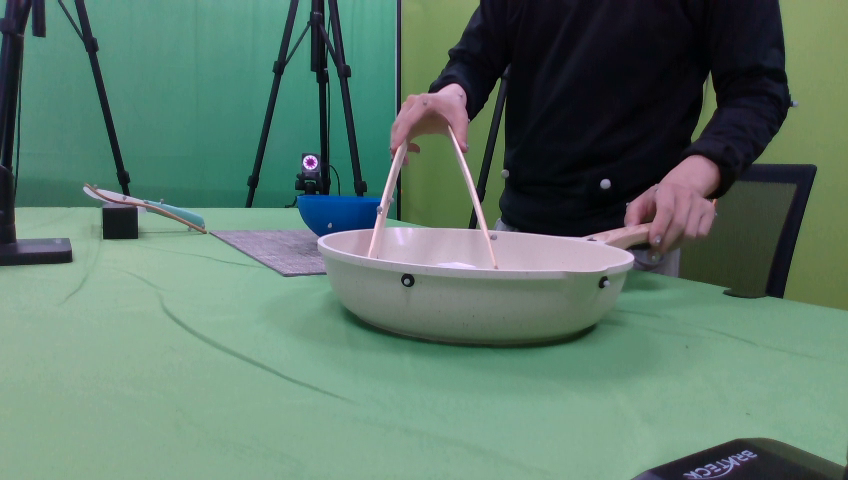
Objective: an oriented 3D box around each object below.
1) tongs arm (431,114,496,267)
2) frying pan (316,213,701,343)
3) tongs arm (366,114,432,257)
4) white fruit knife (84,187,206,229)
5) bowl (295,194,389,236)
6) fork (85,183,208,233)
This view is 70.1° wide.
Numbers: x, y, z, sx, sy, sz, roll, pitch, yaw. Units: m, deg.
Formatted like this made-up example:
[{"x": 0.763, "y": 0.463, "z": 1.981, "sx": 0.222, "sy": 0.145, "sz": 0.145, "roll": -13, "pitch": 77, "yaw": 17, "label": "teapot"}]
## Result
[{"x": 0.043, "y": -0.069, "z": 0.710, "sx": 0.028, "sy": 0.028, "sz": 0.386, "roll": -13, "pitch": 33, "yaw": 1, "label": "tongs arm"}, {"x": 0.133, "y": 0.013, "z": 0.629, "sx": 0.490, "sy": 0.102, "sz": 0.305, "roll": -11, "pitch": 14, "yaw": -30, "label": "frying pan"}, {"x": -0.023, "y": -0.064, "z": 0.714, "sx": 0.051, "sy": 0.026, "sz": 0.384, "roll": -5, "pitch": 33, "yaw": 7, "label": "tongs arm"}, {"x": -0.488, "y": -0.059, "z": 1.071, "sx": 0.208, "sy": 0.027, "sz": 0.016, "roll": 17, "pitch": 4, "yaw": -33, "label": "white fruit knife"}, {"x": -0.132, "y": -0.032, "z": 0.980, "sx": 0.151, "sy": 0.077, "sz": 0.151, "roll": 3, "pitch": 7, "yaw": 0, "label": "bowl"}, {"x": -0.462, "y": -0.051, "z": 1.020, "sx": 0.208, "sy": 0.018, "sz": 0.028, "roll": 22, "pitch": -8, "yaw": -37, "label": "fork"}]
